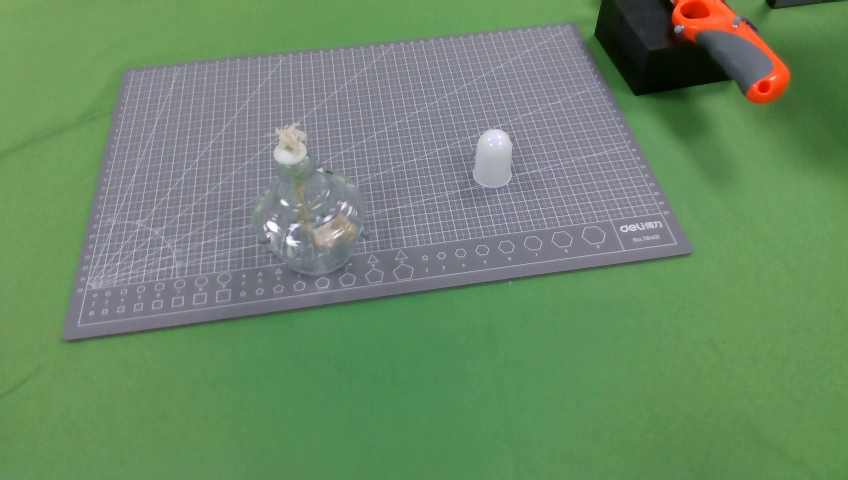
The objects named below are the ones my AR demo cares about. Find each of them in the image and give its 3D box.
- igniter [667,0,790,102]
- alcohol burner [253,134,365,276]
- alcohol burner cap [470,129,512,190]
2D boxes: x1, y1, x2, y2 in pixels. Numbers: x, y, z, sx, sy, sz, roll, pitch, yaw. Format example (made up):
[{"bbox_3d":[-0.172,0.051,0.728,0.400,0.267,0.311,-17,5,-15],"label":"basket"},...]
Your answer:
[{"bbox_3d":[0.239,-0.212,0.541,0.057,0.025,0.273,-12,51,-5],"label":"igniter"},{"bbox_3d":[-0.080,-0.028,0.410,0.078,0.120,0.077,-1,55,2],"label":"alcohol burner"},{"bbox_3d":[0.055,-0.067,0.482,0.034,0.048,0.033,0,52,0],"label":"alcohol burner cap"}]
